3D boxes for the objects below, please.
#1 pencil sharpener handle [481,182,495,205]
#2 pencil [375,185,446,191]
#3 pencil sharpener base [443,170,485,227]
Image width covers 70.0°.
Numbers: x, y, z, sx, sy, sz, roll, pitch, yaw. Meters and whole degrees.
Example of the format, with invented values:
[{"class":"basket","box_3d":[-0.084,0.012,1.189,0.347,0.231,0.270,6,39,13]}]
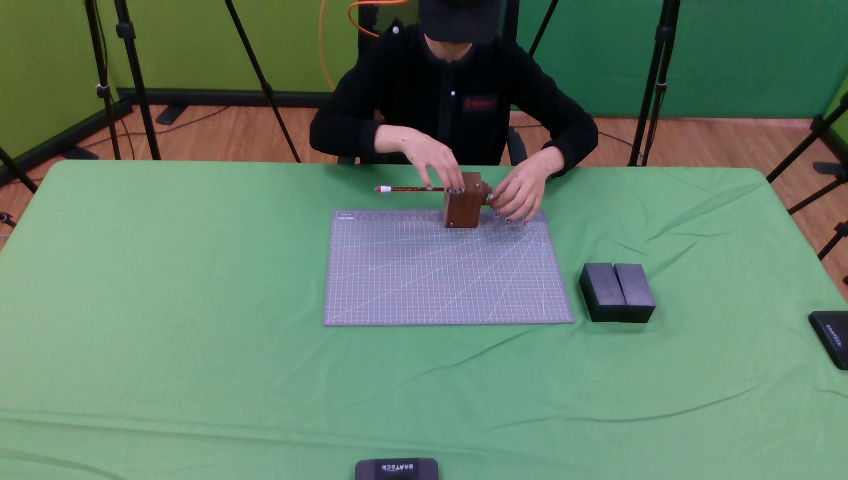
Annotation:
[{"class":"pencil sharpener handle","box_3d":[0.131,-0.093,1.217,0.031,0.068,0.036,0,59,-4]},{"class":"pencil","box_3d":[0.001,-0.101,1.196,0.194,0.012,0.012,0,46,-4]},{"class":"pencil sharpener base","box_3d":[0.080,-0.082,1.220,0.077,0.107,0.061,0,46,-4]}]
